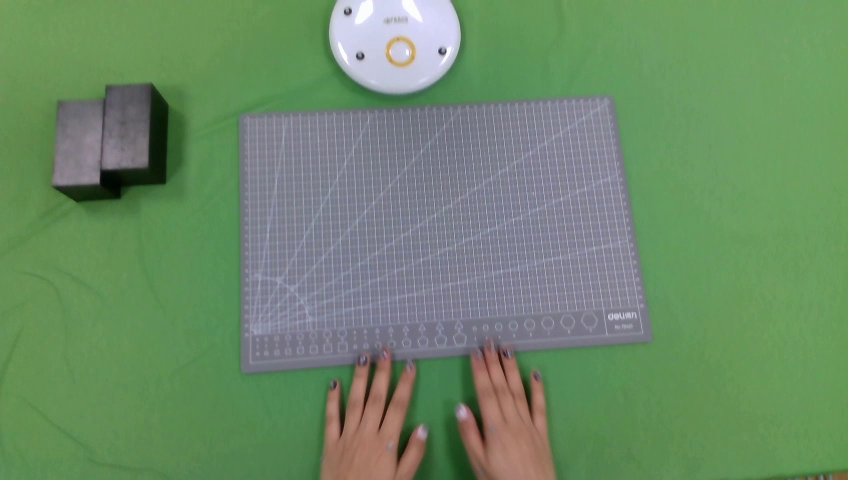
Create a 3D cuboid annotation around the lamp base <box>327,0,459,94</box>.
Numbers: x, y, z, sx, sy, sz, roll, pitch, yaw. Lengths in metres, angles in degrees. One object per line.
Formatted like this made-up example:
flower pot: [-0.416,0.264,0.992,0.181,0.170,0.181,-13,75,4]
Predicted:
lamp base: [-0.039,-0.283,0.672,0.161,0.181,0.178,-17,74,-7]
